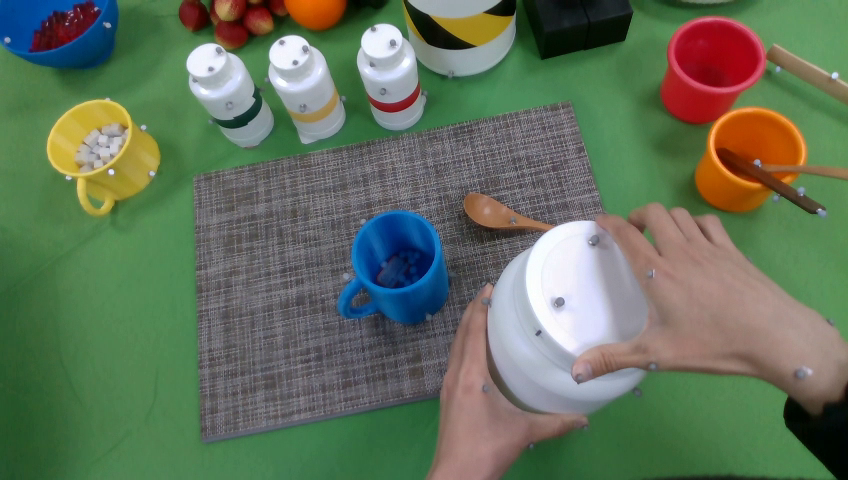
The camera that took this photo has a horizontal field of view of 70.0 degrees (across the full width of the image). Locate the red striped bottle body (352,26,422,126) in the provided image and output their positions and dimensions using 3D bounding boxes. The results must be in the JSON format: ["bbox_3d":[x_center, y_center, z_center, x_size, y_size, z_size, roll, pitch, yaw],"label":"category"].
[{"bbox_3d":[-0.041,-0.184,0.668,0.063,0.120,0.062,-3,68,8],"label":"red striped bottle body"}]

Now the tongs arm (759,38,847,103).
[{"bbox_3d":[0.537,-0.119,0.632,0.382,0.027,0.050,40,74,17],"label":"tongs arm"}]

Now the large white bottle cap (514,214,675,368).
[{"bbox_3d":[0.121,0.033,0.429,0.115,0.018,0.114,5,61,-9],"label":"large white bottle cap"}]

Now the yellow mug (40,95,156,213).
[{"bbox_3d":[-0.375,-0.094,0.696,0.100,0.064,0.130,-2,70,5],"label":"yellow mug"}]

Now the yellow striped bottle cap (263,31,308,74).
[{"bbox_3d":[-0.143,-0.194,0.625,0.044,0.019,0.044,0,65,1],"label":"yellow striped bottle cap"}]

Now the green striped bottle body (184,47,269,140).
[{"bbox_3d":[-0.223,-0.168,0.680,0.063,0.120,0.062,-2,69,5],"label":"green striped bottle body"}]

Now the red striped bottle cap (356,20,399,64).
[{"bbox_3d":[-0.048,-0.203,0.620,0.044,0.018,0.044,-1,67,2],"label":"red striped bottle cap"}]

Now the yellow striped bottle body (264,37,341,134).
[{"bbox_3d":[-0.136,-0.175,0.674,0.063,0.121,0.062,-2,68,6],"label":"yellow striped bottle body"}]

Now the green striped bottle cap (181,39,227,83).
[{"bbox_3d":[-0.230,-0.187,0.632,0.044,0.020,0.044,-1,68,3],"label":"green striped bottle cap"}]

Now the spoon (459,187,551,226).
[{"bbox_3d":[0.128,-0.014,0.636,0.193,0.022,0.041,18,51,11],"label":"spoon"}]

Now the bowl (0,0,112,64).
[{"bbox_3d":[-0.457,-0.278,0.767,0.151,0.077,0.150,-2,69,5],"label":"bowl"}]

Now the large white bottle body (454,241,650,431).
[{"bbox_3d":[0.106,0.076,0.503,0.131,0.185,0.129,5,60,-9],"label":"large white bottle body"}]

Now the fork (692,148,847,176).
[{"bbox_3d":[0.347,-0.069,0.571,0.028,0.019,0.205,-48,28,-12],"label":"fork"}]

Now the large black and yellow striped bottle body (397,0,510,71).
[{"bbox_3d":[0.031,-0.292,0.668,0.130,0.185,0.130,-2,69,5],"label":"large black and yellow striped bottle body"}]

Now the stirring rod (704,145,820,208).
[{"bbox_3d":[0.317,-0.065,0.580,0.014,0.006,0.174,-9,25,-1],"label":"stirring rod"}]

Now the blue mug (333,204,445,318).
[{"bbox_3d":[-0.037,0.033,0.590,0.116,0.106,0.081,-35,69,-8],"label":"blue mug"}]
